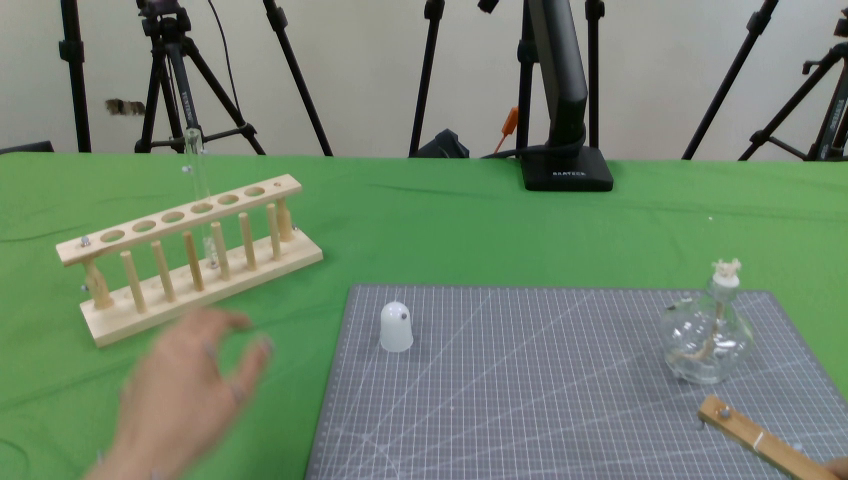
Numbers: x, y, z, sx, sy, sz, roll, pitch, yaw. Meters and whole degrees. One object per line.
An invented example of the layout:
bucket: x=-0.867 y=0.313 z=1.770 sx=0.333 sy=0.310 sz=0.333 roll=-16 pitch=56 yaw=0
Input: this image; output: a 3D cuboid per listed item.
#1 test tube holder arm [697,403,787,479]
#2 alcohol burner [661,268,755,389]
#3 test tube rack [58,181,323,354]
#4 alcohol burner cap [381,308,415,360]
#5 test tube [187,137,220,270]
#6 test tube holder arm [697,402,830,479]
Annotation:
test tube holder arm: x=0.240 y=0.152 z=0.342 sx=0.177 sy=0.013 sz=0.015 roll=35 pitch=88 yaw=24
alcohol burner: x=0.249 y=0.071 z=0.525 sx=0.078 sy=0.120 sz=0.077 roll=0 pitch=36 yaw=0
test tube rack: x=-0.233 y=0.021 z=0.638 sx=0.243 sy=0.086 sz=0.066 roll=-22 pitch=39 yaw=-30
alcohol burner cap: x=-0.026 y=0.086 z=0.572 sx=0.034 sy=0.048 sz=0.033 roll=0 pitch=34 yaw=1
test tube: x=-0.229 y=-0.034 z=0.632 sx=0.017 sy=0.151 sz=0.017 roll=2 pitch=29 yaw=-1
test tube holder arm: x=0.205 y=0.127 z=0.356 sx=0.087 sy=0.010 sz=0.015 roll=34 pitch=88 yaw=26
